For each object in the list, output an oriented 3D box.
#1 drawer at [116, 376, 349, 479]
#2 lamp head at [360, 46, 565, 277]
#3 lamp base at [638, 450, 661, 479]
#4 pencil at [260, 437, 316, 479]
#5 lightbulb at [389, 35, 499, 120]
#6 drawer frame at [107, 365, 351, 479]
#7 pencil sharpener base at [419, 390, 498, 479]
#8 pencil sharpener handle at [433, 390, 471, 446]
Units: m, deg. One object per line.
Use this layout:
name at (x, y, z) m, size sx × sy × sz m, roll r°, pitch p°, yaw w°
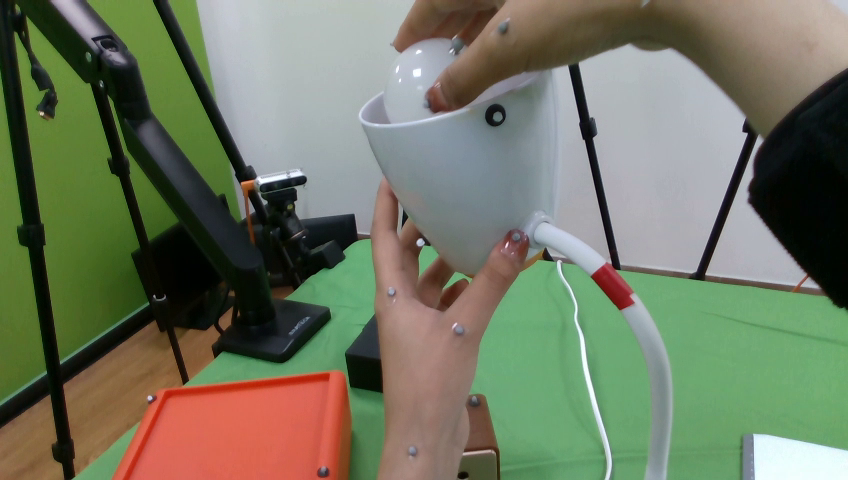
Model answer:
drawer at (-0.172, 0.220, 0.552) m, size 0.194 × 0.074 × 0.210 m, roll -6°, pitch 25°, yaw -1°
lamp head at (0.035, -0.039, 0.355) m, size 0.112 × 0.124 × 0.111 m, roll -18°, pitch 22°, yaw 8°
lamp base at (0.144, 0.232, 0.359) m, size 0.161 × 0.181 × 0.177 m, roll -7°, pitch 22°, yaw -5°
pencil at (-0.170, 0.237, 0.525) m, size 0.194 × 0.012 × 0.012 m, roll -37°, pitch 39°, yaw -30°
lightbulb at (0.023, -0.066, 0.347) m, size 0.059 × 0.109 × 0.059 m, roll -24°, pitch 39°, yaw 21°
drawer frame at (-0.174, 0.218, 0.554) m, size 0.202 × 0.083 × 0.211 m, roll -6°, pitch 25°, yaw -2°
pencil sharpener base at (0.030, 0.196, 0.538) m, size 0.061 × 0.108 × 0.076 m, roll -5°, pitch 26°, yaw -1°
pencil sharpener handle at (0.025, 0.164, 0.578) m, size 0.036 × 0.068 × 0.030 m, roll 0°, pitch 26°, yaw -4°
